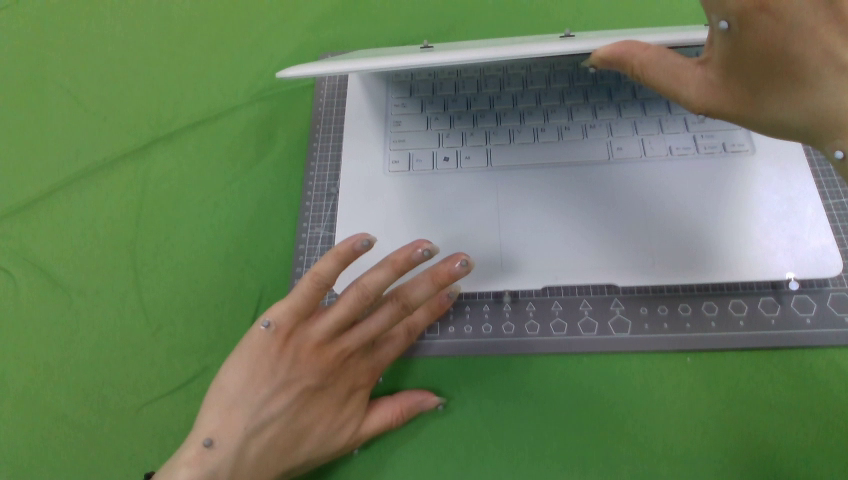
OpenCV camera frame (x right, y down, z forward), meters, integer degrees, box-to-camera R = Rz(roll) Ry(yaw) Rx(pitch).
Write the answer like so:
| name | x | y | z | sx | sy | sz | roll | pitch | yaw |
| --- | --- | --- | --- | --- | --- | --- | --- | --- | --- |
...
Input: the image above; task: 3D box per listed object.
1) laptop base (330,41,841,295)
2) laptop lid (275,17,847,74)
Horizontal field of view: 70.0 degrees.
| name | x | y | z | sx | sy | sz | roll | pitch | yaw |
| --- | --- | --- | --- | --- | --- | --- | --- | --- | --- |
| laptop base | 0.108 | -0.068 | 0.478 | 0.354 | 0.023 | 0.233 | -2 | 64 | 5 |
| laptop lid | 0.100 | -0.137 | 0.418 | 0.356 | 0.013 | 0.240 | -2 | 19 | 6 |
